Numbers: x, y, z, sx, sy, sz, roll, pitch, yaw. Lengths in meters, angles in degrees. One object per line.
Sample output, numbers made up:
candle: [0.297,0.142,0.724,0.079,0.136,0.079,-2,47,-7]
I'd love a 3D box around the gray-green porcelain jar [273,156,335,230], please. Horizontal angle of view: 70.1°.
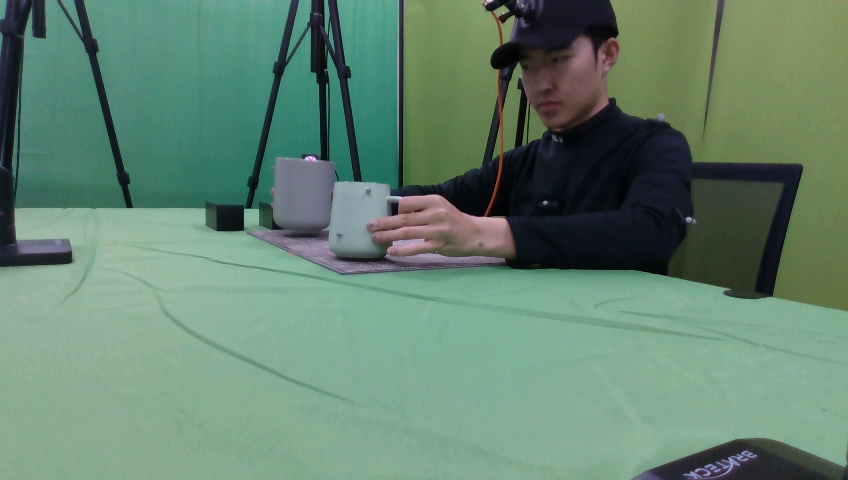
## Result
gray-green porcelain jar: [-0.216,-0.085,1.088,0.106,0.126,0.106,4,7,0]

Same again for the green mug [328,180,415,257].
green mug: [-0.073,-0.030,0.855,0.125,0.105,0.093,3,3,16]
